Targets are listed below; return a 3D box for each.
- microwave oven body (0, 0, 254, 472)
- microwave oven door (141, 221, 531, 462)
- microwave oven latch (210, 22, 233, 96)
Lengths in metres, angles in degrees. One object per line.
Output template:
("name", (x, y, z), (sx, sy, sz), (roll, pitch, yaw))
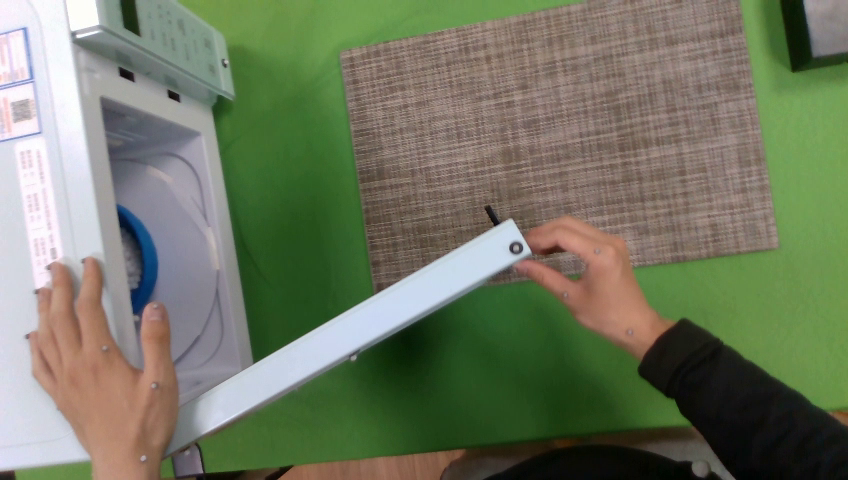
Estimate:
("microwave oven body", (-0.379, -0.015, 0.641), (0.326, 0.260, 0.441), (-10, 89, 8))
("microwave oven door", (-0.059, 0.082, 0.585), (0.356, 0.244, 0.039), (-31, 85, 8))
("microwave oven latch", (-0.249, -0.214, 0.717), (0.030, 0.029, 0.079), (-9, 89, 9))
